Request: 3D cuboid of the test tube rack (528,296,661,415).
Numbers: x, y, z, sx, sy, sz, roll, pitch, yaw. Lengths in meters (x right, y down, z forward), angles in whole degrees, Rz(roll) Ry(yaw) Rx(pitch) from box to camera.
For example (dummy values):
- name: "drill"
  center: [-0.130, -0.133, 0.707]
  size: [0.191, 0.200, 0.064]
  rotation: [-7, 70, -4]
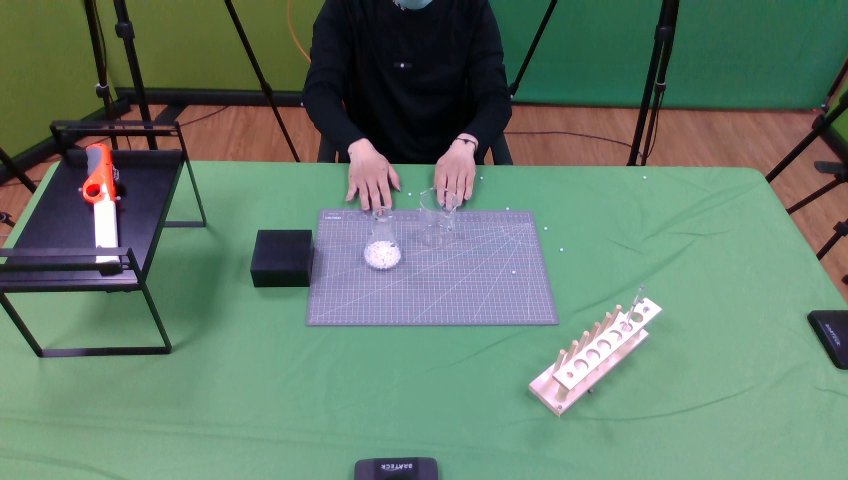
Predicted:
- name: "test tube rack"
  center: [0.285, 0.178, 1.005]
  size: [0.242, 0.085, 0.066]
  rotation: [-31, 55, -29]

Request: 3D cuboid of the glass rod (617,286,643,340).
- name: "glass rod"
  center: [0.324, 0.128, 0.964]
  size: [0.008, 0.201, 0.008]
  rotation: [-2, 54, 3]

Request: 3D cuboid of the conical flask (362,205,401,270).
- name: "conical flask"
  center: [-0.078, -0.008, 1.127]
  size: [0.075, 0.122, 0.075]
  rotation: [2, 46, -2]

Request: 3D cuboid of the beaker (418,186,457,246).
- name: "beaker"
  center: [0.026, -0.042, 1.183]
  size: [0.074, 0.101, 0.083]
  rotation: [-19, 51, -20]

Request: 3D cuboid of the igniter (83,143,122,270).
- name: "igniter"
  center: [-0.508, -0.063, 0.962]
  size: [0.057, 0.025, 0.274]
  rotation: [-14, 53, -18]
